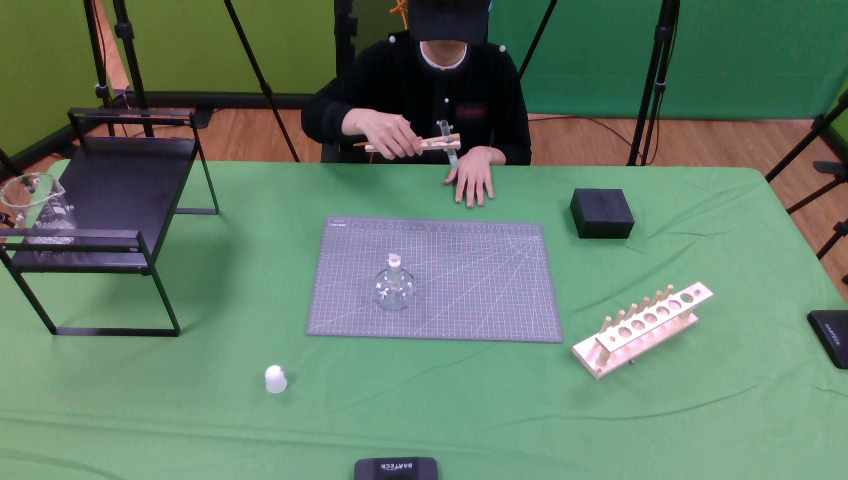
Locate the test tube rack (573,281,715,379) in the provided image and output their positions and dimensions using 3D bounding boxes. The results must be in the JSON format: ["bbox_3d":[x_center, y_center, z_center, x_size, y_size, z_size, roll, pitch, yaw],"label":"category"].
[{"bbox_3d":[0.378,0.140,1.038,0.242,0.085,0.066,-22,51,-23],"label":"test tube rack"}]

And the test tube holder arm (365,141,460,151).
[{"bbox_3d":[-0.022,-0.174,1.120,0.178,0.015,0.013,-2,67,9],"label":"test tube holder arm"}]

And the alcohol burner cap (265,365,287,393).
[{"bbox_3d":[-0.236,0.216,0.956,0.034,0.048,0.033,3,46,-3],"label":"alcohol burner cap"}]

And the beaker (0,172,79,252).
[{"bbox_3d":[-0.557,-0.038,0.889,0.084,0.101,0.073,-3,47,-8],"label":"beaker"}]

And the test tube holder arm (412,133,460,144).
[{"bbox_3d":[0.022,-0.183,1.116,0.088,0.015,0.010,-10,66,5],"label":"test tube holder arm"}]

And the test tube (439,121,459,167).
[{"bbox_3d":[0.047,-0.175,1.125,0.017,0.151,0.017,-4,67,10],"label":"test tube"}]

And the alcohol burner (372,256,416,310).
[{"bbox_3d":[-0.052,0.068,1.057,0.078,0.120,0.077,1,48,-1],"label":"alcohol burner"}]
